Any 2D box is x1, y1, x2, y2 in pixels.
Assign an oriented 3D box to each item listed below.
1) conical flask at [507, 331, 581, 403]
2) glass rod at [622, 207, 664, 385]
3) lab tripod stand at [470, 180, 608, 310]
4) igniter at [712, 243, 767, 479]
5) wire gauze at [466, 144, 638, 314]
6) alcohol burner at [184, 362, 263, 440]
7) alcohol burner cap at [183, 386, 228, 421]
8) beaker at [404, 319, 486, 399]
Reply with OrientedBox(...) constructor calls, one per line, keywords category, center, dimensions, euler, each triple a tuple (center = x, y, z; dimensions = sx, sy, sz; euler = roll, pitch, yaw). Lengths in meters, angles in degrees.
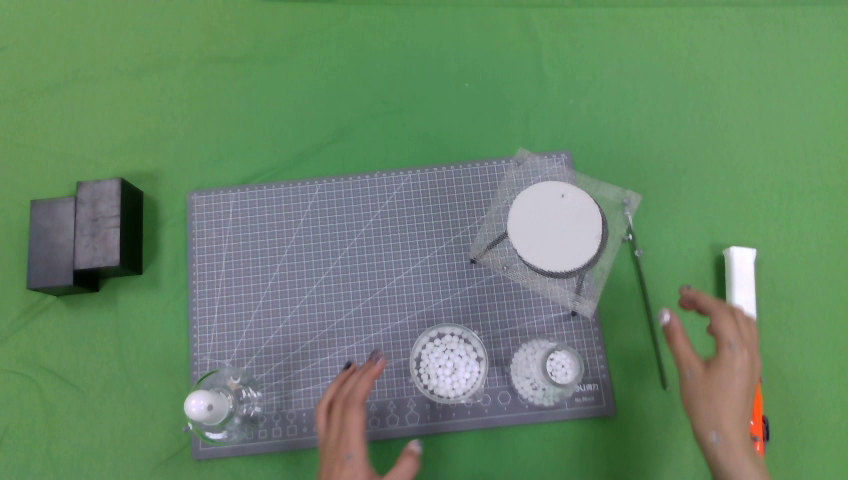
OrientedBox(category="conical flask", center=(0.124, 0.123, 0.595), dimensions=(0.075, 0.122, 0.075), euler=(0, 77, 2))
OrientedBox(category="glass rod", center=(0.240, 0.059, 0.668), dimensions=(0.008, 0.008, 0.198), euler=(-7, 77, -1))
OrientedBox(category="lab tripod stand", center=(0.121, 0.003, 0.616), dimensions=(0.148, 0.132, 0.147), euler=(-1, 78, 3))
OrientedBox(category="igniter", center=(0.331, 0.138, 0.638), dimensions=(0.057, 0.025, 0.275), euler=(7, 77, -8))
OrientedBox(category="wire gauze", center=(0.116, -0.014, 0.551), dimensions=(0.125, 0.011, 0.121), euler=(25, 81, 7))
OrientedBox(category="alcohol burner", center=(-0.204, 0.160, 0.599), dimensions=(0.078, 0.119, 0.077), euler=(0, 78, 3))
OrientedBox(category="alcohol burner cap", center=(-0.205, 0.150, 0.564), dimensions=(0.034, 0.048, 0.033), euler=(0, 70, 0))
OrientedBox(category="beaker", center=(0.024, 0.123, 0.609), dimensions=(0.074, 0.100, 0.083), euler=(-41, 80, -7))
